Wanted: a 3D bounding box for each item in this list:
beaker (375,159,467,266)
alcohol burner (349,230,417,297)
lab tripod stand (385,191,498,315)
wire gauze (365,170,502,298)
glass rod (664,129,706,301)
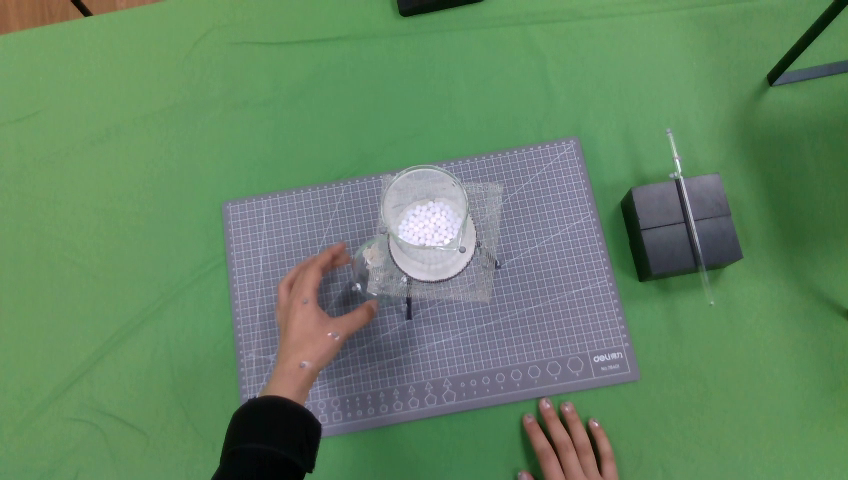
[{"bbox_3d":[0.004,-0.018,0.545,0.074,0.101,0.083,-37,77,-5],"label":"beaker"},{"bbox_3d":[-0.048,0.023,0.666,0.078,0.119,0.077,-1,78,5],"label":"alcohol burner"},{"bbox_3d":[0.008,0.008,0.656,0.148,0.132,0.147,-1,76,5],"label":"lab tripod stand"},{"bbox_3d":[0.010,-0.008,0.592,0.121,0.011,0.124,7,75,4],"label":"wire gauze"},{"bbox_3d":[0.288,-0.030,0.669,0.008,0.008,0.198,-7,77,2],"label":"glass rod"}]
